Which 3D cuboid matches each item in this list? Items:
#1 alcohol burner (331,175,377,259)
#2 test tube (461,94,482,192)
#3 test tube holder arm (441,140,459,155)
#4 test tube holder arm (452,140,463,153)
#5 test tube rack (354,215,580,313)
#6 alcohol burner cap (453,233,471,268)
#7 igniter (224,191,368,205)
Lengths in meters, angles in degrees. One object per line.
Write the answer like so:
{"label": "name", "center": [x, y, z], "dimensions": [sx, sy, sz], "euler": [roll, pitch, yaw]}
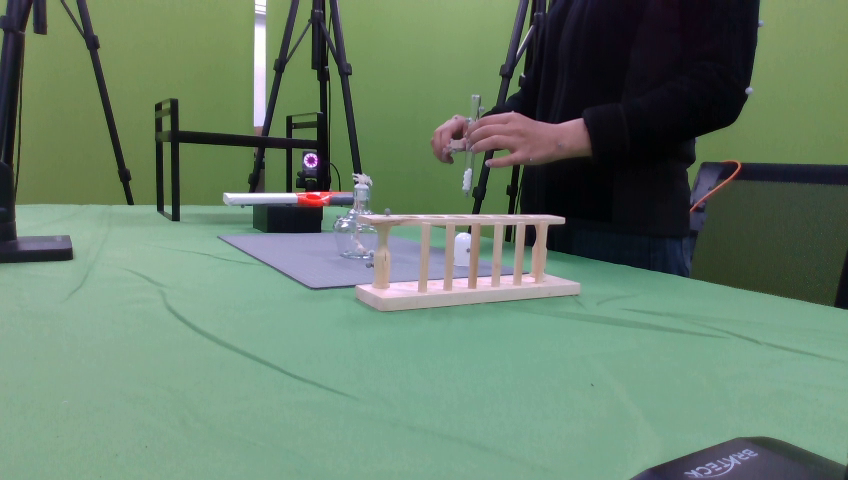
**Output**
{"label": "alcohol burner", "center": [-0.091, -0.033, 0.855], "dimensions": [0.078, 0.119, 0.078], "euler": [4, 7, 0]}
{"label": "test tube", "center": [0.072, -0.147, 0.928], "dimensions": [0.017, 0.150, 0.017], "euler": [5, 14, -1]}
{"label": "test tube holder arm", "center": [0.044, -0.158, 1.040], "dimensions": [0.013, 0.015, 0.178], "euler": [7, 4, -7]}
{"label": "test tube holder arm", "center": [0.054, -0.154, 0.996], "dimensions": [0.010, 0.015, 0.088], "euler": [8, 4, -4]}
{"label": "test tube rack", "center": [0.053, 0.019, 0.635], "dimensions": [0.243, 0.085, 0.066], "euler": [-1, 8, -29]}
{"label": "alcohol burner cap", "center": [0.053, 0.014, 0.823], "dimensions": [0.034, 0.048, 0.034], "euler": [3, 6, 0]}
{"label": "igniter", "center": [-0.237, -0.079, 1.157], "dimensions": [0.278, 0.025, 0.057], "euler": [-2, 21, -31]}
